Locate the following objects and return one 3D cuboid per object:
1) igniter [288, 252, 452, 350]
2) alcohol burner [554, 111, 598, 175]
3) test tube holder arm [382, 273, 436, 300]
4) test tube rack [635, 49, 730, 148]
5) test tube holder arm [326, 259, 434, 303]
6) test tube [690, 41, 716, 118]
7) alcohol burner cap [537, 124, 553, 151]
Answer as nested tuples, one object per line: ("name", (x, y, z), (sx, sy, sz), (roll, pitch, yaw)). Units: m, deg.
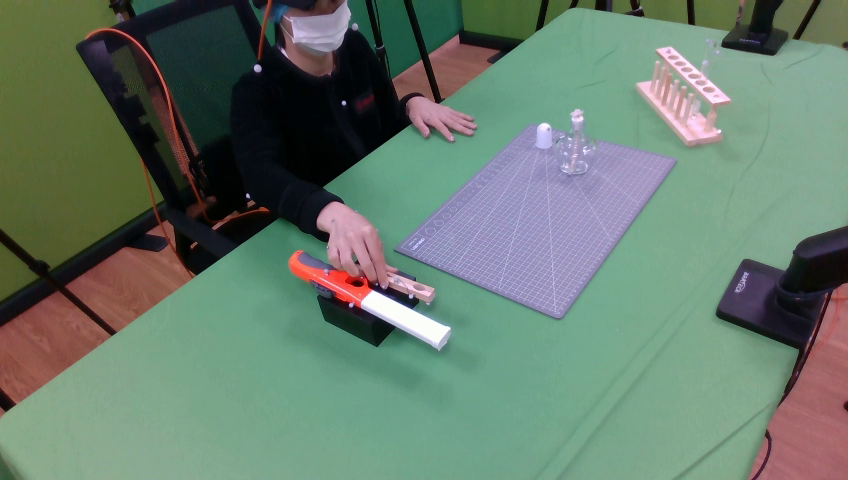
("igniter", (-0.084, 0.077, 0.821), (0.274, 0.025, 0.057), (23, 49, 27))
("alcohol burner", (0.270, -0.175, 1.066), (0.078, 0.119, 0.077), (-4, 42, 4))
("test tube holder arm", (-0.023, 0.064, 0.831), (0.087, 0.015, 0.010), (17, 35, 26))
("test tube rack", (0.497, -0.283, 1.185), (0.067, 0.085, 0.240), (-10, 40, -2))
("test tube holder arm", (-0.065, 0.056, 0.847), (0.177, 0.015, 0.013), (15, 34, 25))
("test tube", (0.514, -0.293, 1.117), (0.017, 0.151, 0.017), (-3, 42, 3))
("alcohol burner cap", (0.232, -0.199, 1.158), (0.034, 0.048, 0.033), (-5, 40, 5))
